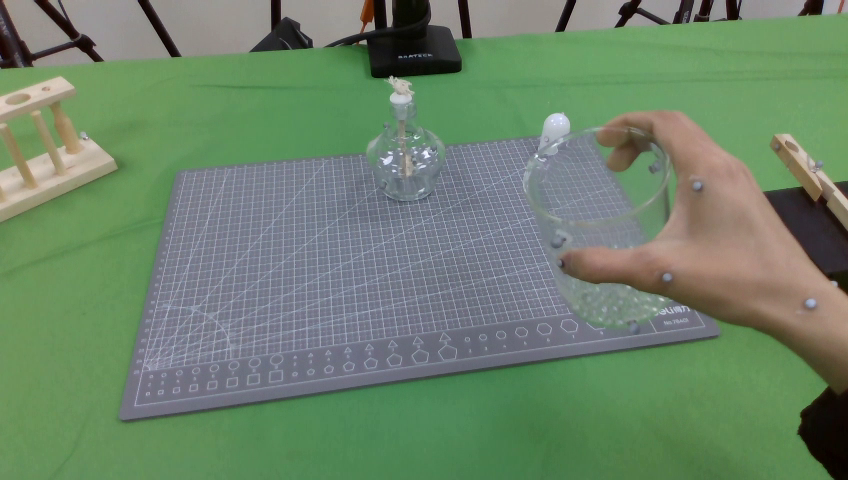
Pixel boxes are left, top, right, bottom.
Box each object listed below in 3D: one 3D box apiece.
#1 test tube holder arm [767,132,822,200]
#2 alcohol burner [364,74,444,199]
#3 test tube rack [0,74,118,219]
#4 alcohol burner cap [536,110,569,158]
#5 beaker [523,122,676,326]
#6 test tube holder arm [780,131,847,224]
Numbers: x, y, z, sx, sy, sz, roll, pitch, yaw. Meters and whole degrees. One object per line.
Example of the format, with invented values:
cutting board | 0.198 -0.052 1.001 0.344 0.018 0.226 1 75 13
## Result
test tube holder arm | 0.334 -0.068 0.543 0.010 0.015 0.087 -9 43 2
alcohol burner | -0.020 -0.100 0.575 0.078 0.120 0.077 -1 42 2
test tube rack | -0.431 -0.064 0.565 0.066 0.086 0.242 33 53 31
alcohol burner cap | 0.137 -0.115 0.643 0.034 0.048 0.033 0 43 0
beaker | 0.102 -0.005 0.347 0.074 0.101 0.083 -43 44 -18
test tube holder arm | 0.344 -0.038 0.510 0.013 0.015 0.176 -10 43 2
